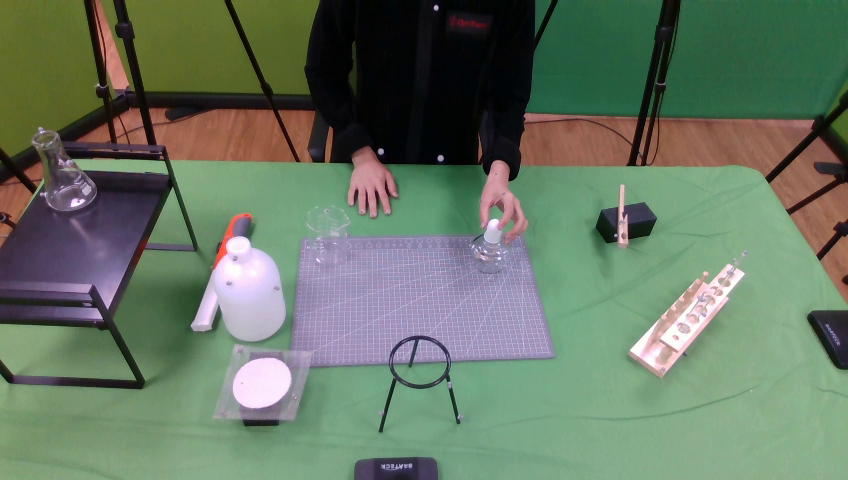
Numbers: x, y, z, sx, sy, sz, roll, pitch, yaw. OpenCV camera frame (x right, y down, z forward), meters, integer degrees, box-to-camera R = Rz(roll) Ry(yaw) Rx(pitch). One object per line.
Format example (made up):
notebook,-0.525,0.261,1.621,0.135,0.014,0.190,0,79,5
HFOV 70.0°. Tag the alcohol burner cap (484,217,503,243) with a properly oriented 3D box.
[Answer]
alcohol burner cap,0.129,-0.021,1.107,0.034,0.048,0.033,3,50,-3

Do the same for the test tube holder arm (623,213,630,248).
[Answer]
test tube holder arm,0.392,-0.020,1.180,0.010,0.015,0.087,15,47,-1

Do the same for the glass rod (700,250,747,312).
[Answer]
glass rod,0.500,0.075,1.021,0.008,0.201,0.008,0,54,1

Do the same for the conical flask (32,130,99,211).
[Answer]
conical flask,-0.565,-0.110,0.944,0.075,0.122,0.075,2,46,-2

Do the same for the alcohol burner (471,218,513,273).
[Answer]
alcohol burner,0.128,0.005,1.132,0.078,0.120,0.077,0,47,0

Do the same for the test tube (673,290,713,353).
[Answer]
test tube,0.429,0.135,0.981,0.017,0.151,0.017,4,44,-4

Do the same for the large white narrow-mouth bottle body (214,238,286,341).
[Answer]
large white narrow-mouth bottle body,-0.285,0.073,0.986,0.102,0.195,0.101,2,46,-2

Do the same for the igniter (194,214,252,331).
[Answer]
igniter,-0.367,0.050,1.119,0.057,0.025,0.275,-4,46,7

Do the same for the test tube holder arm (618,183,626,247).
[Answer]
test tube holder arm,0.395,-0.053,1.210,0.013,0.015,0.177,15,47,-1

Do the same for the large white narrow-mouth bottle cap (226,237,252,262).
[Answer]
large white narrow-mouth bottle cap,-0.282,0.014,0.923,0.038,0.024,0.037,2,46,-2

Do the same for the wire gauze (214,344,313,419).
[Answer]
wire gauze,-0.241,0.213,0.915,0.121,0.011,0.124,5,46,1

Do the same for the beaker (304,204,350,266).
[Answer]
beaker,-0.178,-0.006,1.132,0.084,0.101,0.073,4,46,-1

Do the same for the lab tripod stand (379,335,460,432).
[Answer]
lab tripod stand,-0.011,0.214,0.911,0.148,0.132,0.147,1,45,0

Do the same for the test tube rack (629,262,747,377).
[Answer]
test tube rack,0.464,0.126,1.061,0.242,0.085,0.066,-34,56,-31
